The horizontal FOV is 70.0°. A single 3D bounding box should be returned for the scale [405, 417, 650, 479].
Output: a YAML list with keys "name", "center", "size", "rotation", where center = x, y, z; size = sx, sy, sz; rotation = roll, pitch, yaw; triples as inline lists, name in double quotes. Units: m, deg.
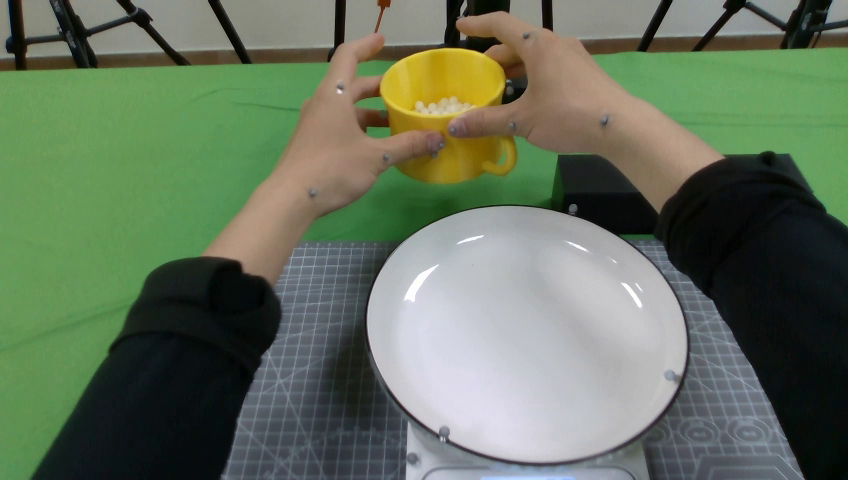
- name: "scale"
  center: [0.063, 0.098, 0.409]
  size: [0.149, 0.032, 0.199]
  rotation: [-1, 48, 1]

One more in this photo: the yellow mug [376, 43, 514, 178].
- name: "yellow mug"
  center: [0.024, -0.100, 0.487]
  size: [0.100, 0.064, 0.129]
  rotation: [-35, 53, -24]

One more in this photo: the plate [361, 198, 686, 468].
- name: "plate"
  center: [0.063, 0.054, 0.405]
  size: [0.209, 0.038, 0.207]
  rotation: [0, 47, 0]
